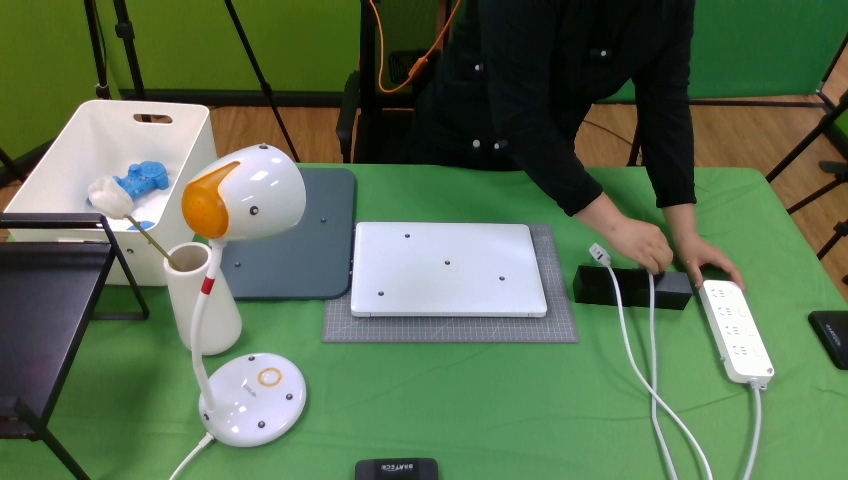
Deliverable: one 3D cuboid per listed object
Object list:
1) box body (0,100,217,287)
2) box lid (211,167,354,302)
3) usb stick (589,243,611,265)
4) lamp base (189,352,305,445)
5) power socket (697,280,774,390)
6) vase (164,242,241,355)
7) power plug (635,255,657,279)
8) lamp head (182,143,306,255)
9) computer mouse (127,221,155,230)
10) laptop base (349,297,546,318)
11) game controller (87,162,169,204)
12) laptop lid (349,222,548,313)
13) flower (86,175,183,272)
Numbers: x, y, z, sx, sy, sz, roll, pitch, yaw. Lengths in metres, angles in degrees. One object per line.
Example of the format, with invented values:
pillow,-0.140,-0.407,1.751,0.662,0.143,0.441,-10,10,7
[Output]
box body,-0.559,-0.092,1.144,0.254,0.161,0.361,3,46,-2
box lid,-0.276,-0.024,1.205,0.263,0.015,0.369,0,46,-4
usb stick,0.338,0.025,1.172,0.027,0.021,0.059,31,19,-10
lamp base,-0.268,0.197,0.876,0.160,0.181,0.179,25,52,20
power socket,0.551,0.159,1.080,0.072,0.033,0.225,3,46,0
vase,-0.349,0.096,0.954,0.098,0.201,0.097,3,47,-3
power plug,0.410,0.055,1.137,0.035,0.053,0.072,37,50,15
lamp head,-0.215,-0.044,0.697,0.112,0.113,0.123,23,31,17
computer mouse,-0.537,0.009,1.127,0.062,0.041,0.117,31,55,21
laptop base,0.041,0.056,1.149,0.355,0.023,0.234,1,43,-4
game controller,-0.597,-0.113,1.234,0.097,0.052,0.155,29,52,19
laptop lid,0.041,0.046,1.143,0.357,0.013,0.240,2,44,-3
flower,-0.367,0.039,0.893,0.038,0.364,0.044,-3,53,14
